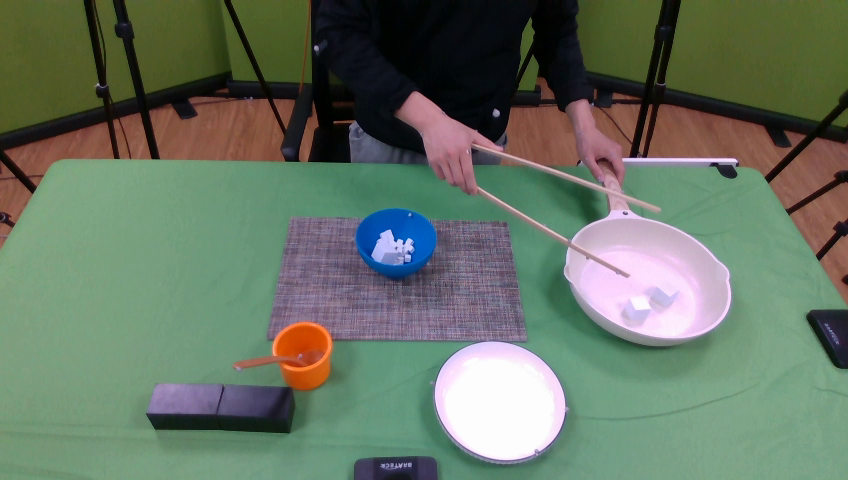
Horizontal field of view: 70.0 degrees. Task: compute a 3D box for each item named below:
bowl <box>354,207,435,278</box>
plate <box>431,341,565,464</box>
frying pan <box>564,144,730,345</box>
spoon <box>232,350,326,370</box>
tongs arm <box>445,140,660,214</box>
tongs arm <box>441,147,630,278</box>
[{"bbox_3d":[-0.055,0.018,1.131,0.151,0.077,0.150,2,45,-2],"label":"bowl"},{"bbox_3d":[0.114,0.255,0.951,0.208,0.039,0.206,3,46,-2],"label":"plate"},{"bbox_3d":[0.396,-0.008,1.179,0.307,0.103,0.484,0,55,-5],"label":"frying pan"},{"bbox_3d":[-0.216,0.182,0.920,0.041,0.194,0.021,44,102,27],"label":"spoon"},{"bbox_3d":[0.223,-0.110,1.065,0.387,0.028,0.028,19,87,5],"label":"tongs arm"},{"bbox_3d":[0.192,-0.049,1.056,0.384,0.026,0.050,29,84,6],"label":"tongs arm"}]
